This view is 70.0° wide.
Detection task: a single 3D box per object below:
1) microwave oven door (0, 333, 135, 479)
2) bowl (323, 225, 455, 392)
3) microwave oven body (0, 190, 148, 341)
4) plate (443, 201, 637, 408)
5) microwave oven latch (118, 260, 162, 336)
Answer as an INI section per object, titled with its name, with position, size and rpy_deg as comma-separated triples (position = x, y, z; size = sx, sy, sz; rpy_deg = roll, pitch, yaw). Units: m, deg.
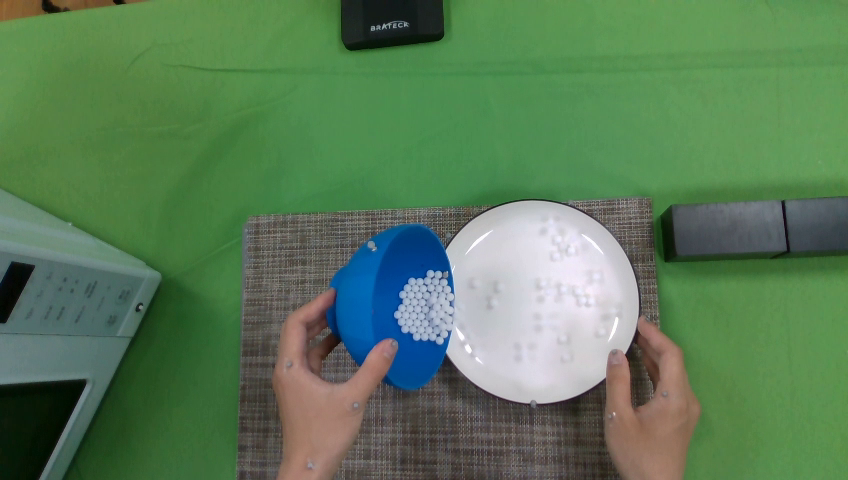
[microwave oven door]
position = -0.433, 0.245, 0.557
size = 0.039, 0.245, 0.355
rpy_deg = 24, 85, 13
[bowl]
position = -0.040, 0.062, 0.564
size = 0.076, 0.152, 0.151
rpy_deg = 0, 80, 29
[microwave oven body]
position = -0.545, 0.150, 0.596
size = 0.325, 0.261, 0.441
rpy_deg = 24, 86, 12
[plate]
position = 0.107, 0.065, 0.621
size = 0.207, 0.039, 0.207
rpy_deg = -1, 80, 8
[microwave oven latch]
position = -0.323, 0.065, 0.674
size = 0.030, 0.029, 0.079
rpy_deg = 26, 86, 12
